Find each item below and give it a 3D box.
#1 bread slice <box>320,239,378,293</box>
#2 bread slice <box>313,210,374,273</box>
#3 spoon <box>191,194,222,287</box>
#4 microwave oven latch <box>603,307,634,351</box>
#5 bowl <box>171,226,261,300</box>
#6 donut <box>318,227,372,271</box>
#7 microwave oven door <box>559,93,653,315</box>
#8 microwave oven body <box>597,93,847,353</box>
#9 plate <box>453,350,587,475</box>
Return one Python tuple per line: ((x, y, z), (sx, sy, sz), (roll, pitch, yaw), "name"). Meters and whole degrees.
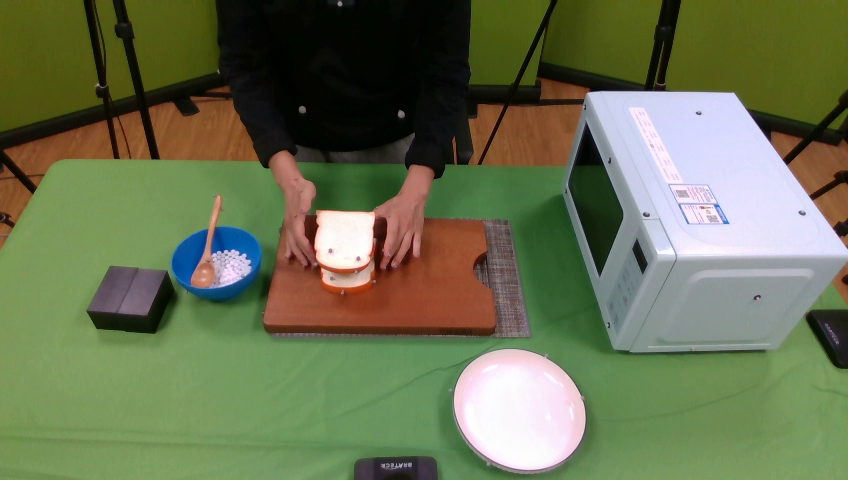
((-0.139, 0.044, 1.111), (0.105, 0.019, 0.130), (1, 45, -2), "bread slice")
((-0.140, 0.000, 1.068), (0.107, 0.018, 0.133), (-1, 53, -6), "bread slice")
((-0.383, 0.000, 1.088), (0.041, 0.022, 0.193), (-1, 66, 6), "spoon")
((0.332, 0.153, 1.044), (0.030, 0.029, 0.078), (0, 45, -3), "microwave oven latch")
((-0.363, 0.054, 1.081), (0.151, 0.077, 0.150), (3, 45, -3), "bowl")
((-0.142, 0.016, 1.094), (0.099, 0.048, 0.098), (2, 43, -2), "donut")
((0.327, -0.074, 1.123), (0.039, 0.245, 0.353), (-1, 46, -5), "microwave oven door")
((0.475, -0.041, 1.109), (0.326, 0.261, 0.438), (-1, 45, -4), "microwave oven body")
((0.147, 0.267, 0.943), (0.208, 0.039, 0.206), (2, 46, -2), "plate")
